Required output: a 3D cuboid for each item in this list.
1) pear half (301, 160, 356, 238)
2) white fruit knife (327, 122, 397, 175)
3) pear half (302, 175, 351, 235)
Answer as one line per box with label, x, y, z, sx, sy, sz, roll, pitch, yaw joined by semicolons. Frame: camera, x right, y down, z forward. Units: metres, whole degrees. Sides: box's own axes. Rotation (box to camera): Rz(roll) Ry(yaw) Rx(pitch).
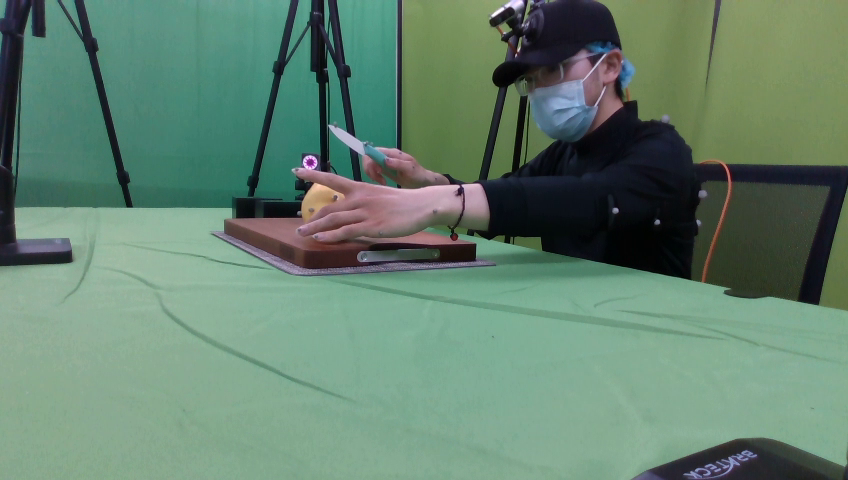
pear half;-0.131;-0.057;0.847;0.077;0.110;0.055;-6;10;-27
white fruit knife;-0.105;-0.162;1.064;0.016;0.027;0.208;-3;-16;29
pear half;-0.145;-0.051;0.881;0.071;0.088;0.031;-10;11;-26
